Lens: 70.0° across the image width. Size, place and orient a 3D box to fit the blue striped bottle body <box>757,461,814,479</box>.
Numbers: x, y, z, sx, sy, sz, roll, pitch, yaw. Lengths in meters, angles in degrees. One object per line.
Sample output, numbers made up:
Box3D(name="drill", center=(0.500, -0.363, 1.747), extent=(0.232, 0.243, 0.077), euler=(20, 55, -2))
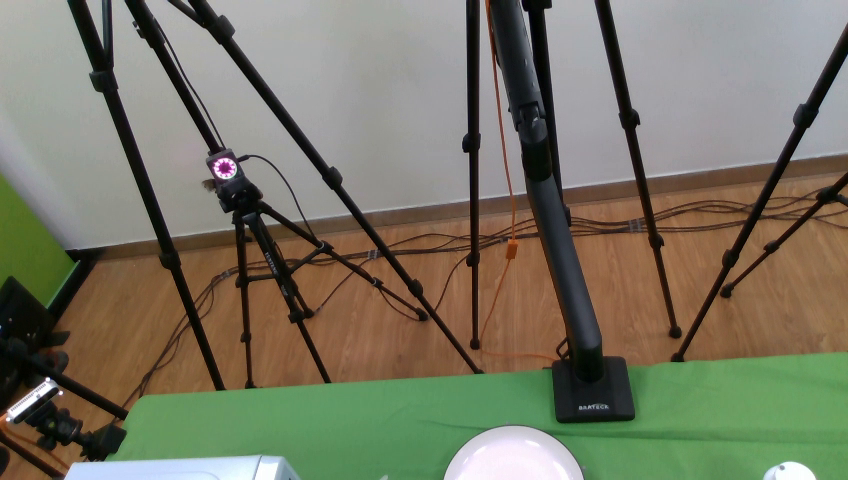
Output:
Box3D(name="blue striped bottle body", center=(0.443, 0.317, 0.746), extent=(0.063, 0.122, 0.062), euler=(-10, 42, 9))

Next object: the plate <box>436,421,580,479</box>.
Box3D(name="plate", center=(0.120, 0.362, 0.871), extent=(0.207, 0.039, 0.205), euler=(-9, 42, 9))

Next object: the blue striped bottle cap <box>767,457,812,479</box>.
Box3D(name="blue striped bottle cap", center=(0.431, 0.279, 0.713), extent=(0.044, 0.021, 0.044), euler=(-10, 44, 10))

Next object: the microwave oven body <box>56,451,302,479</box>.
Box3D(name="microwave oven body", center=(-0.317, 0.505, 0.686), extent=(0.325, 0.263, 0.437), euler=(-6, 43, 11))
